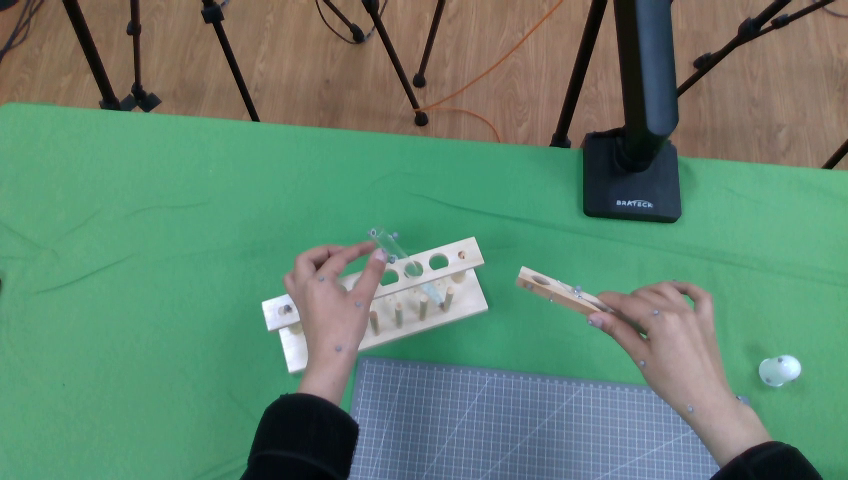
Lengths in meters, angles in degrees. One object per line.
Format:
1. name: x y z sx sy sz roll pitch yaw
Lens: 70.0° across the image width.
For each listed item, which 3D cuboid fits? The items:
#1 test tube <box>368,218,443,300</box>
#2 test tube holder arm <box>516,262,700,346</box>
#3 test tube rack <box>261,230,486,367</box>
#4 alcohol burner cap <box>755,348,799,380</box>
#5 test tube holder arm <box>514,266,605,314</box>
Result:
1. test tube: -0.016 0.025 0.660 0.017 0.152 0.017 -17 49 21
2. test tube holder arm: 0.172 0.060 0.570 0.178 0.015 0.013 21 55 7
3. test tube rack: -0.050 0.068 0.688 0.242 0.086 0.066 -17 69 -7
4. alcohol burner cap: 0.404 0.140 0.690 0.034 0.048 0.033 0 68 -1
5. test tube holder arm: 0.128 0.047 0.573 0.087 0.015 0.010 22 55 7
